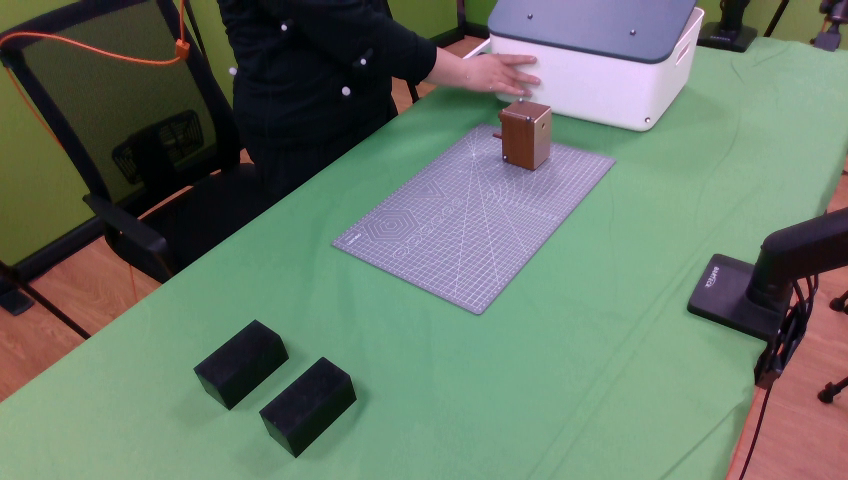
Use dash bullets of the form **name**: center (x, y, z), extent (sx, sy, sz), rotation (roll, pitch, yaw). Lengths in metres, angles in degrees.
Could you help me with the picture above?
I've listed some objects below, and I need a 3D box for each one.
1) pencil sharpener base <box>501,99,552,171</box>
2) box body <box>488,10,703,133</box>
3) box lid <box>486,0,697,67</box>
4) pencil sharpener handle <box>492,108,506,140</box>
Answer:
- **pencil sharpener base**: center (0.184, -0.191, 1.097), extent (0.076, 0.107, 0.061), rotation (22, 49, 32)
- **box body**: center (0.346, -0.374, 1.251), extent (0.361, 0.161, 0.255), rotation (20, 48, 29)
- **box lid**: center (0.327, -0.464, 1.158), extent (0.369, 0.015, 0.263), rotation (21, 74, 27)
- **pencil sharpener handle**: center (0.141, -0.216, 1.114), extent (0.030, 0.068, 0.036), rotation (22, 41, 32)
